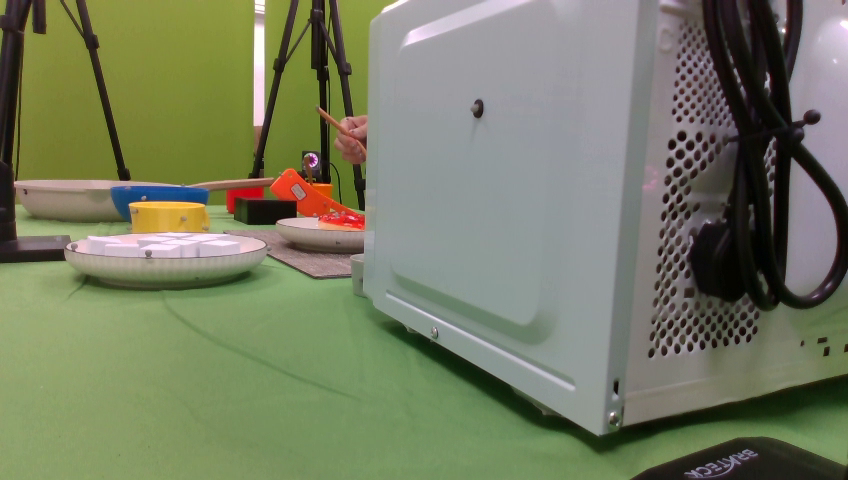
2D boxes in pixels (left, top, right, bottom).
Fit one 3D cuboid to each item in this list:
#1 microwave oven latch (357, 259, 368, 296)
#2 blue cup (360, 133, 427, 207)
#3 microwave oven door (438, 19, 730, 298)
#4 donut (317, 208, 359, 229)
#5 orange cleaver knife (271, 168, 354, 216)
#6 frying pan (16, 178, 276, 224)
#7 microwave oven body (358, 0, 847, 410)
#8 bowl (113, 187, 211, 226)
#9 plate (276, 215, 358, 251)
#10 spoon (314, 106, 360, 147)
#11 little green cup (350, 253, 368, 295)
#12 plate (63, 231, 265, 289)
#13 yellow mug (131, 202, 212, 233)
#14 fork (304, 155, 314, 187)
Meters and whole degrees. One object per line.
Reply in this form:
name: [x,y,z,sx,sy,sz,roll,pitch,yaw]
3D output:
microwave oven latch: [-0.019,0.031,0.528,0.079,0.029,0.030,-1,7,-25]
blue cup: [-0.045,-0.112,1.018,0.093,0.100,0.092,-32,-9,-5]
microwave oven door: [0.181,-0.076,0.618,0.358,0.243,0.039,-2,8,-28]
donut: [-0.118,-0.024,0.954,0.099,0.048,0.099,5,7,0]
orange cleaver knife: [-0.237,-0.084,1.332,0.212,0.077,0.012,31,-9,-31]
frying pan: [-0.554,-0.097,1.266,0.490,0.102,0.305,-10,13,-24]
microwave oven body: [0.210,-0.051,0.471,0.444,0.260,0.324,-1,7,-28]
bowl: [-0.437,-0.046,1.013,0.151,0.077,0.151,2,7,0]
plate: [-0.126,-0.012,0.950,0.209,0.038,0.209,2,7,0]
spoon: [-0.111,-0.160,1.022,0.194,0.021,0.041,46,3,-4]
little green cup: [-0.048,0.035,0.632,0.061,0.038,0.061,3,6,0]
plate: [-0.288,0.021,0.687,0.208,0.039,0.207,2,8,0]
yellow mug: [-0.356,-0.020,0.878,0.099,0.064,0.131,5,7,21]
fork: [-0.268,-0.134,1.446,0.028,0.018,0.207,1,-36,-1]
